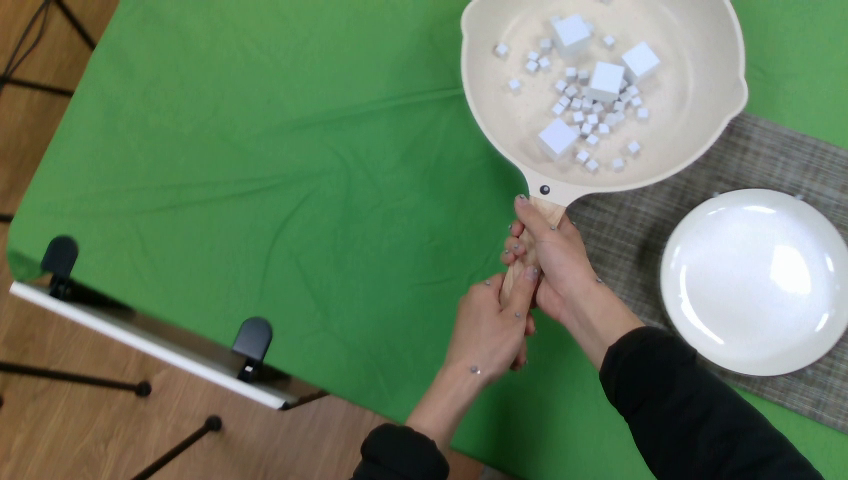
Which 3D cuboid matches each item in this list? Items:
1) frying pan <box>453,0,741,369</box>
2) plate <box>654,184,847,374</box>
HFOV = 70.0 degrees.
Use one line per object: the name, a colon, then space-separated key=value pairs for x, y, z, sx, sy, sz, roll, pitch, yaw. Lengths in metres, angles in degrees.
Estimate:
frying pan: x=0.142 y=-0.099 z=0.636 sx=0.306 sy=0.103 sz=0.486 roll=20 pitch=76 yaw=8
plate: x=0.359 y=0.042 z=0.674 sx=0.207 sy=0.039 sz=0.207 roll=-1 pitch=83 yaw=4
